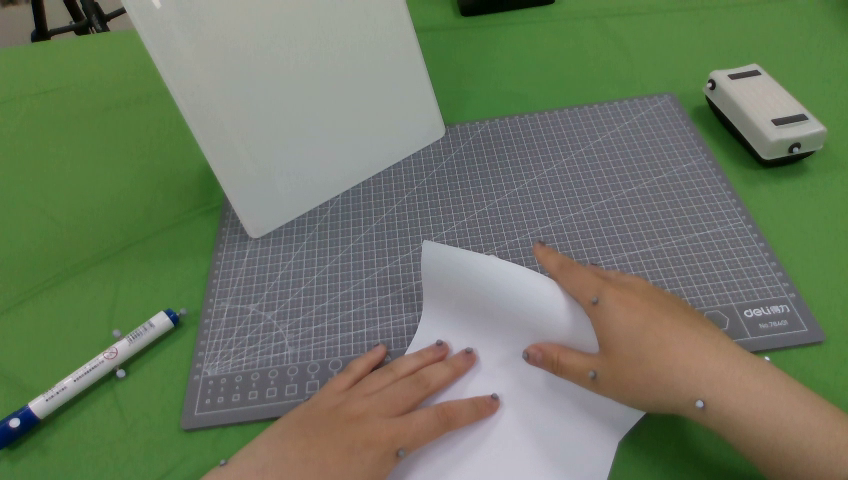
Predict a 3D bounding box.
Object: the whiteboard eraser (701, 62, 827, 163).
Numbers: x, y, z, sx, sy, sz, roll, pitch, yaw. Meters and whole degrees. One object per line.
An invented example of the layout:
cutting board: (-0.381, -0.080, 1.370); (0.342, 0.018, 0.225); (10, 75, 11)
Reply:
whiteboard eraser: (0.305, -0.116, 0.551); (0.055, 0.042, 0.111); (-14, 49, -2)

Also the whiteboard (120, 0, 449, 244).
whiteboard: (-0.141, -0.194, 0.541); (0.217, 0.308, 0.142); (-31, 31, -18)

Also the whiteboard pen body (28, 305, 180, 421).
whiteboard pen body: (-0.244, 0.095, 0.447); (0.017, 0.017, 0.140); (34, 59, 31)

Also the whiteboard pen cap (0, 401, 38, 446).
whiteboard pen cap: (-0.286, 0.126, 0.421); (0.018, 0.018, 0.033); (33, 59, 31)
